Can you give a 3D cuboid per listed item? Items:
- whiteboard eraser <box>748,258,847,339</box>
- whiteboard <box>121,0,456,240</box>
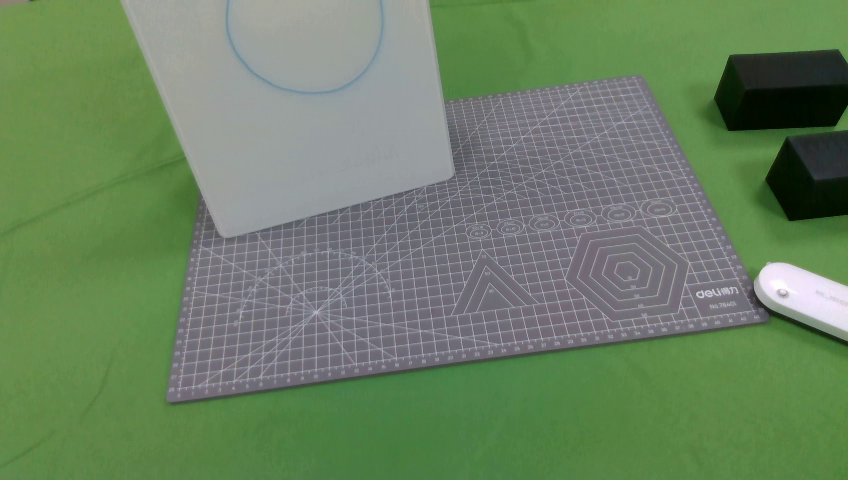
[{"bbox_3d":[0.295,0.045,0.446,0.100,0.019,0.041,24,58,21],"label":"whiteboard eraser"},{"bbox_3d":[-0.114,-0.189,0.513,0.217,0.308,0.142,-15,34,-6],"label":"whiteboard"}]
